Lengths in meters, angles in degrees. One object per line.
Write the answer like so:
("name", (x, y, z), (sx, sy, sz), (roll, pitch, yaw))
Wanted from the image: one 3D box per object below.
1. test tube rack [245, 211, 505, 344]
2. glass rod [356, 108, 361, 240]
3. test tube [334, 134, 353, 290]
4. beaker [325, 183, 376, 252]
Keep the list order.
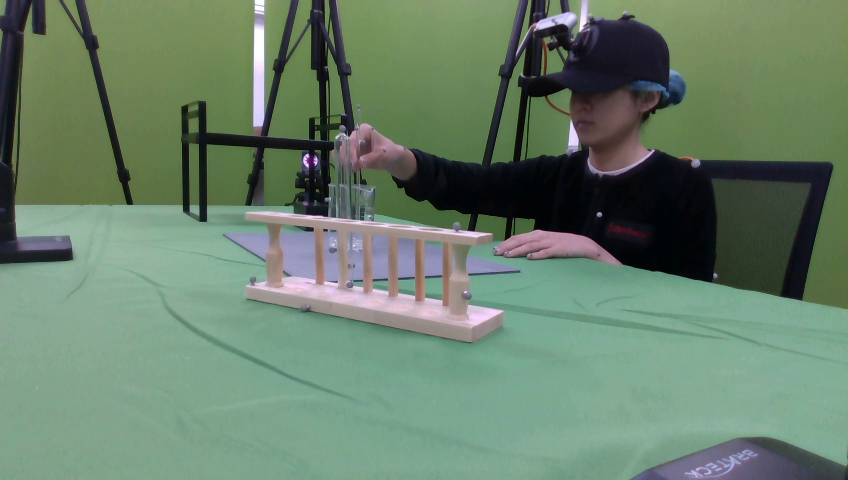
("test tube rack", (-0.049, 0.025, 0.547), (0.241, 0.085, 0.067), (7, 8, 29))
("glass rod", (-0.099, -0.098, 0.912), (0.008, 0.199, 0.008), (1, 5, 0))
("test tube", (-0.077, -0.026, 0.579), (0.017, 0.150, 0.017), (0, 7, 0))
("beaker", (-0.110, -0.034, 0.920), (0.083, 0.100, 0.074), (11, 11, 43))
